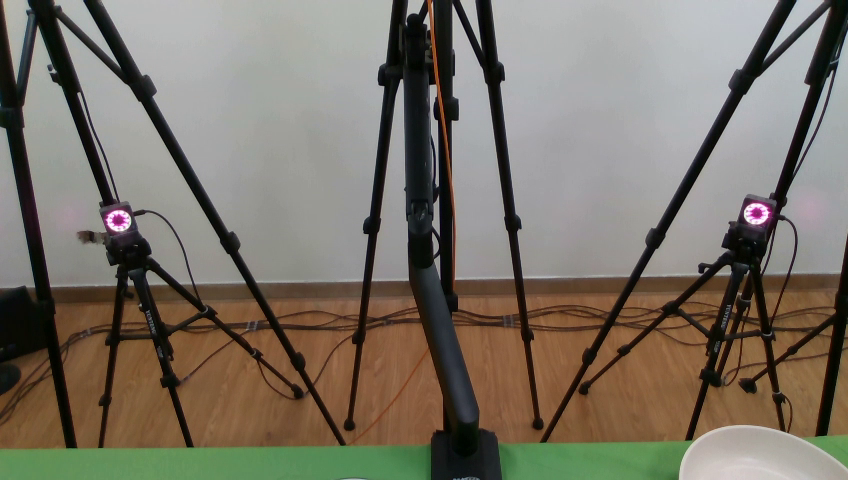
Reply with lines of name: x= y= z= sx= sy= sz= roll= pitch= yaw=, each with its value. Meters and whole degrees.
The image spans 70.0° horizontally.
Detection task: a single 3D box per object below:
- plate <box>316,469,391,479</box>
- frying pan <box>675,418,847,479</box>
plate: x=-0.117 y=0.452 z=0.930 sx=0.208 sy=0.039 sz=0.205 roll=-1 pitch=35 yaw=1
frying pan: x=0.527 y=0.457 z=0.844 sx=0.306 sy=0.103 sz=0.484 roll=2 pitch=27 yaw=6
